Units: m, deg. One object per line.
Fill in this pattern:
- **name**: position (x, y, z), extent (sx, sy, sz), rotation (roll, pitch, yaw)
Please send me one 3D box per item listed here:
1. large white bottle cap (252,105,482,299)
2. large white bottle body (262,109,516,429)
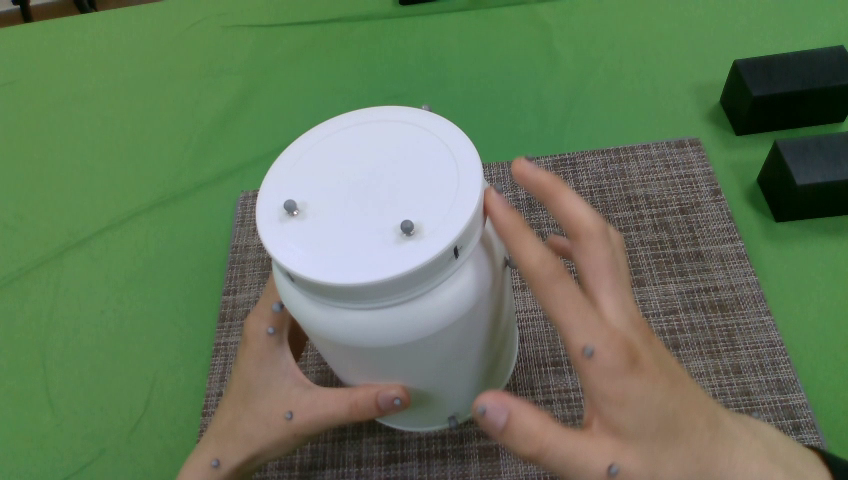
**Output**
- **large white bottle cap**: position (-0.028, -0.023, 0.302), extent (0.115, 0.018, 0.113), rotation (-5, 54, 8)
- **large white bottle body**: position (-0.014, 0.025, 0.369), extent (0.130, 0.186, 0.129), rotation (-6, 54, 8)
